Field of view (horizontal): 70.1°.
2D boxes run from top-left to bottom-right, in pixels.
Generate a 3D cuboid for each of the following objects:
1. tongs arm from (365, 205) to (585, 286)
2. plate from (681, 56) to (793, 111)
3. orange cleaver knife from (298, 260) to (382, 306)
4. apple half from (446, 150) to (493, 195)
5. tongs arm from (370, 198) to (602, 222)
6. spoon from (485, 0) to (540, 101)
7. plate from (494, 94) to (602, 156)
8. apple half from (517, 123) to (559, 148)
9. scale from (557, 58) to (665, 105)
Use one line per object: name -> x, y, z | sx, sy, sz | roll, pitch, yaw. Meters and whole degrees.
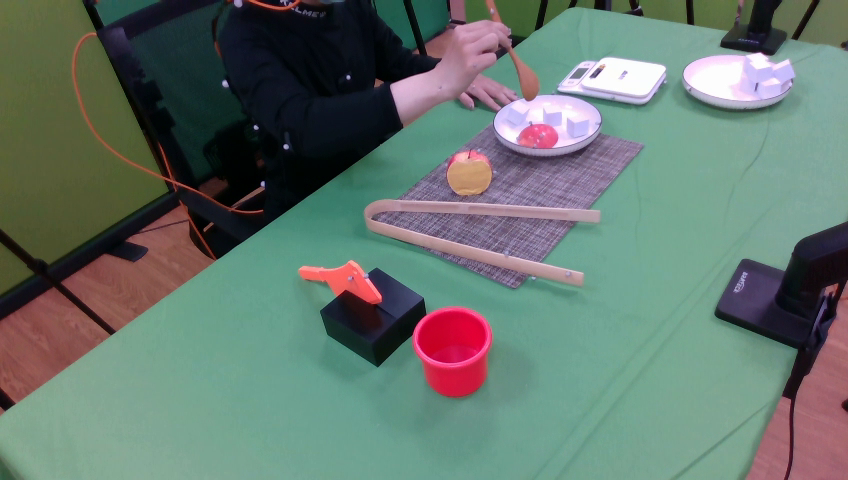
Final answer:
tongs arm -> 0.067, 0.004, 0.951 | 0.382, 0.026, 0.051 | 13, 46, 23
plate -> 0.636, -0.317, 1.239 | 0.207, 0.039, 0.206 | -4, 40, 4
orange cleaver knife -> -0.126, 0.063, 0.876 | 0.012, 0.077, 0.210 | -38, 19, -30
apple half -> 0.080, -0.123, 1.065 | 0.081, 0.075, 0.053 | -7, 37, 7
tongs arm -> 0.097, -0.048, 1.008 | 0.386, 0.028, 0.028 | 3, 46, 13
spoon -> 0.143, -0.313, 0.989 | 0.042, 0.195, 0.021 | -43, 25, -17
plate -> 0.240, -0.221, 1.181 | 0.209, 0.038, 0.208 | -4, 41, 4
apple half -> 0.221, -0.207, 1.161 | 0.081, 0.033, 0.081 | -6, 43, 6
scale -> 0.407, -0.348, 1.314 | 0.199, 0.032, 0.149 | 19, 47, 28
